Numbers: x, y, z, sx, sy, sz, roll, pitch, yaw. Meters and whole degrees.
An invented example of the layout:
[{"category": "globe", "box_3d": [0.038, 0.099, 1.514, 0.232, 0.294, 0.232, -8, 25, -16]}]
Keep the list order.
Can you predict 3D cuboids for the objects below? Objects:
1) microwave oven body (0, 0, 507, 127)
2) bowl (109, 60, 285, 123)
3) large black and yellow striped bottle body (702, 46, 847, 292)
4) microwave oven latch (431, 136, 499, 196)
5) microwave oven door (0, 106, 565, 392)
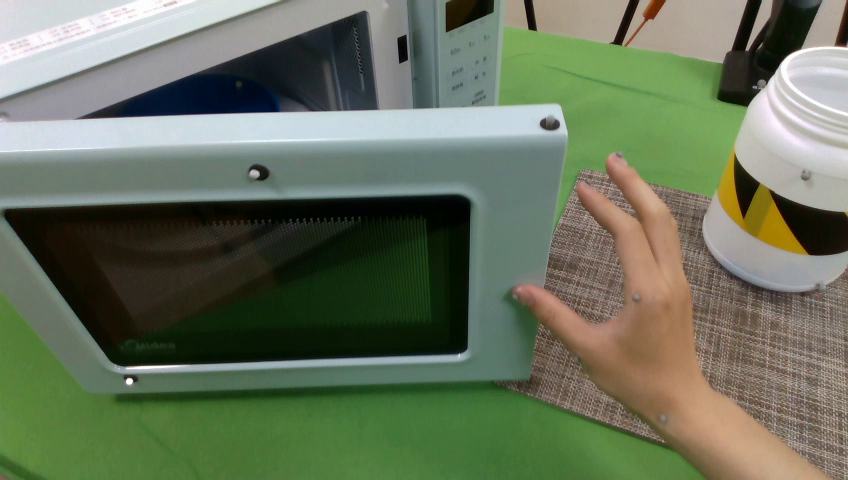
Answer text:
[{"category": "microwave oven body", "box_3d": [-0.191, -0.143, 0.581, 0.442, 0.262, 0.322, -31, 53, -24]}, {"category": "bowl", "box_3d": [-0.197, -0.085, 0.557, 0.151, 0.077, 0.150, 1, 58, -1]}, {"category": "large black and yellow striped bottle body", "box_3d": [0.334, -0.058, 0.526, 0.131, 0.186, 0.129, -1, 46, 2]}, {"category": "microwave oven latch", "box_3d": [0.044, -0.078, 0.644, 0.079, 0.030, 0.030, -30, 52, -23]}, {"category": "microwave oven door", "box_3d": [-0.097, 0.023, 0.408, 0.356, 0.246, 0.039, -2, 47, 0]}]
